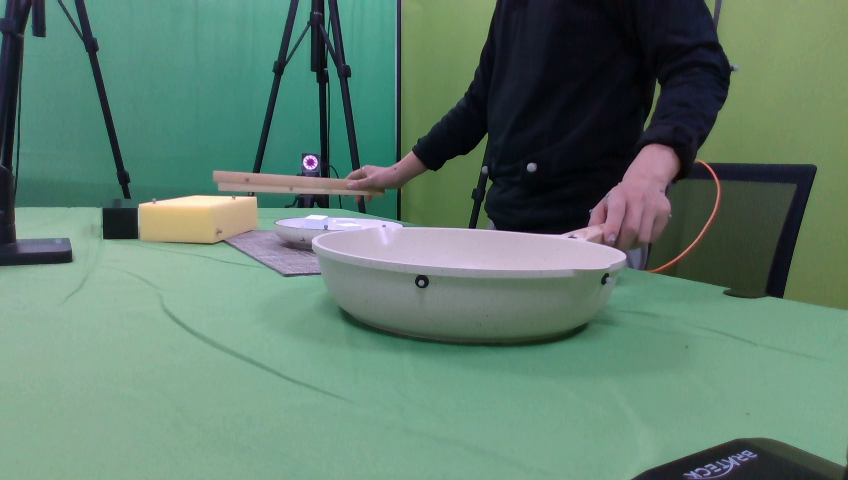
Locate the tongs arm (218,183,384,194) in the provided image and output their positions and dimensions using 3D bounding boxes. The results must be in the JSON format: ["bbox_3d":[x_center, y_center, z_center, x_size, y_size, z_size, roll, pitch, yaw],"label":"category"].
[{"bbox_3d":[-0.290,-0.127,1.435,0.386,0.026,0.050,1,-5,-11],"label":"tongs arm"}]

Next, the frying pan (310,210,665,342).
[{"bbox_3d":[0.120,0.011,0.643,0.490,0.102,0.305,-14,16,-36],"label":"frying pan"}]

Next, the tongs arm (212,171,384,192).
[{"bbox_3d":[-0.272,-0.131,1.362,0.389,0.027,0.028,1,-8,-23],"label":"tongs arm"}]

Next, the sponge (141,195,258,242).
[{"bbox_3d":[-0.380,-0.040,1.047,0.118,0.061,0.207,1,8,3],"label":"sponge"}]

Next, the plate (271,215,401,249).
[{"bbox_3d":[-0.141,-0.012,0.978,0.208,0.039,0.207,3,7,0],"label":"plate"}]
